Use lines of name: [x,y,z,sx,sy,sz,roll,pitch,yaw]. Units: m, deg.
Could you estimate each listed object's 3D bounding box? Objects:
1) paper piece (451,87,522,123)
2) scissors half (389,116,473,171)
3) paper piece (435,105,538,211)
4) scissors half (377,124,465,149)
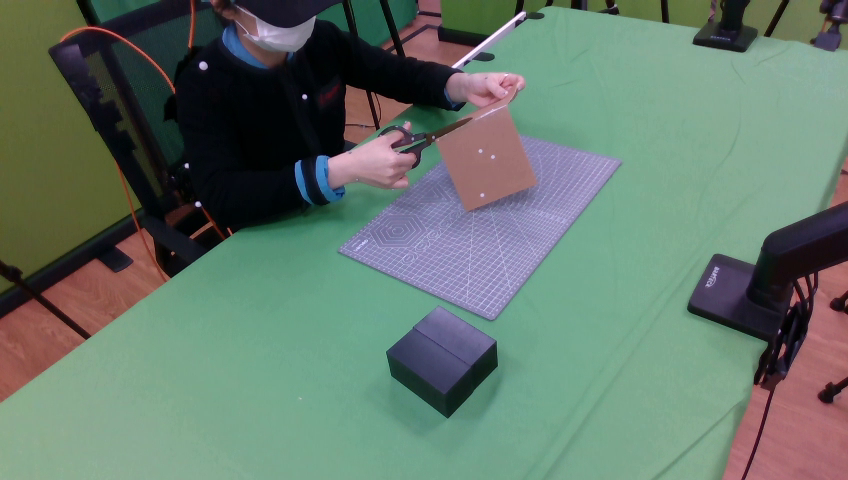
paper piece: [0.095,-0.221,1.036,0.135,0.009,0.138,-18,16,28]
scissors half: [0.011,-0.162,1.012,0.174,0.040,0.013,-30,22,31]
paper piece: [0.099,-0.130,0.982,0.135,0.136,0.004,-20,6,27]
scissors half: [0.001,-0.179,1.003,0.174,0.040,0.013,-4,38,18]
